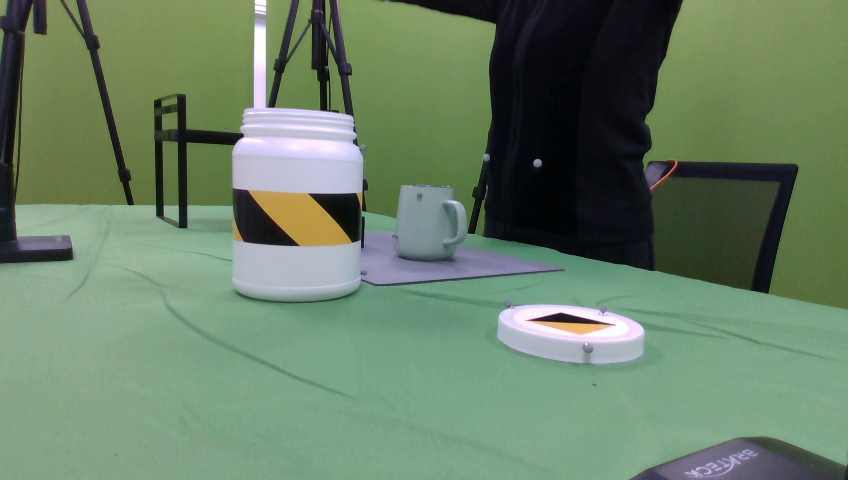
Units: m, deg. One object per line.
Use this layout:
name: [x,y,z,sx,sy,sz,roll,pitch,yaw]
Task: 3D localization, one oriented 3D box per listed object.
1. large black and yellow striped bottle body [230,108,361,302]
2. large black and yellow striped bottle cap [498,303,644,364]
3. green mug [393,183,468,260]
large black and yellow striped bottle body: [-0.130,-0.038,0.621,0.131,0.184,0.130,2,7,0]
large black and yellow striped bottle cap: [0.117,0.072,0.486,0.115,0.019,0.115,1,8,0]
green mug: [0.015,-0.026,0.858,0.093,0.105,0.124,-4,9,-42]
